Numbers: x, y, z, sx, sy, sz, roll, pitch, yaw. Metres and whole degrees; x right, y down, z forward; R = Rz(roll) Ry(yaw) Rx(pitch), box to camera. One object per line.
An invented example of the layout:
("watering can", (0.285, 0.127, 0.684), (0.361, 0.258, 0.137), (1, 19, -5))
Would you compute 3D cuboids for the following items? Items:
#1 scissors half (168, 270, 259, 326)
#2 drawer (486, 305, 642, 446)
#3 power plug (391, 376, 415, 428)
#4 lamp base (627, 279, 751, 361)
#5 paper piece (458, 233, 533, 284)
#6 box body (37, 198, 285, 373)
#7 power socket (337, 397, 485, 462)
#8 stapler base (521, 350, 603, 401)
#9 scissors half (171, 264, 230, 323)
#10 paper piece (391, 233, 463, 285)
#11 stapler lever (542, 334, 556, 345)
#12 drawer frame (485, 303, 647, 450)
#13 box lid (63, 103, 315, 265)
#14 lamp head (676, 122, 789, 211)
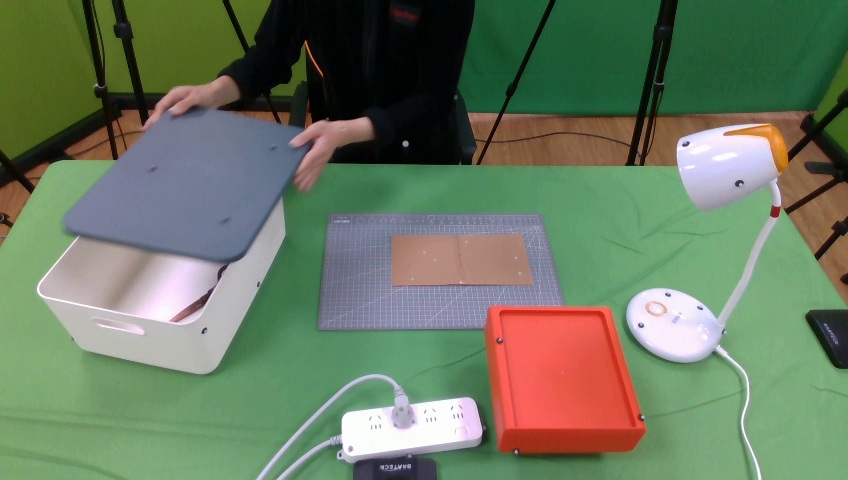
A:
("scissors half", (-0.369, 0.105, 1.070), (0.175, 0.013, 0.040), (-30, 66, -28))
("drawer", (0.202, 0.200, 0.919), (0.195, 0.073, 0.210), (2, 47, -4))
("power plug", (-0.031, 0.249, 0.917), (0.035, 0.053, 0.072), (3, 46, -1))
("lamp base", (0.460, 0.100, 1.027), (0.178, 0.181, 0.160), (27, 51, 17))
("paper piece", (0.136, 0.035, 1.182), (0.136, 0.009, 0.137), (2, 45, -6))
("box body", (-0.414, 0.029, 1.040), (0.254, 0.161, 0.362), (10, 46, 5))
("power socket", (-0.018, 0.285, 0.915), (0.227, 0.033, 0.071), (-4, 46, -8))
("stapler base", (0.217, 0.203, 0.942), (0.130, 0.024, 0.041), (26, 33, 16))
("scissors half", (-0.383, 0.093, 1.076), (0.040, 0.013, 0.175), (31, 54, 16))
("paper piece", (0.004, 0.035, 1.170), (0.135, 0.004, 0.135), (1, 46, -4))
("stapler lever", (0.225, 0.181, 0.928), (0.118, 0.040, 0.027), (27, 34, 15))
("drawer frame", (0.204, 0.202, 0.917), (0.202, 0.083, 0.212), (1, 47, -4))
("box lid", (-0.345, -0.107, 0.957), (0.263, 0.015, 0.369), (12, 41, 2))
("lamp head", (0.423, -0.104, 0.819), (0.122, 0.113, 0.112), (-13, 33, 40))
